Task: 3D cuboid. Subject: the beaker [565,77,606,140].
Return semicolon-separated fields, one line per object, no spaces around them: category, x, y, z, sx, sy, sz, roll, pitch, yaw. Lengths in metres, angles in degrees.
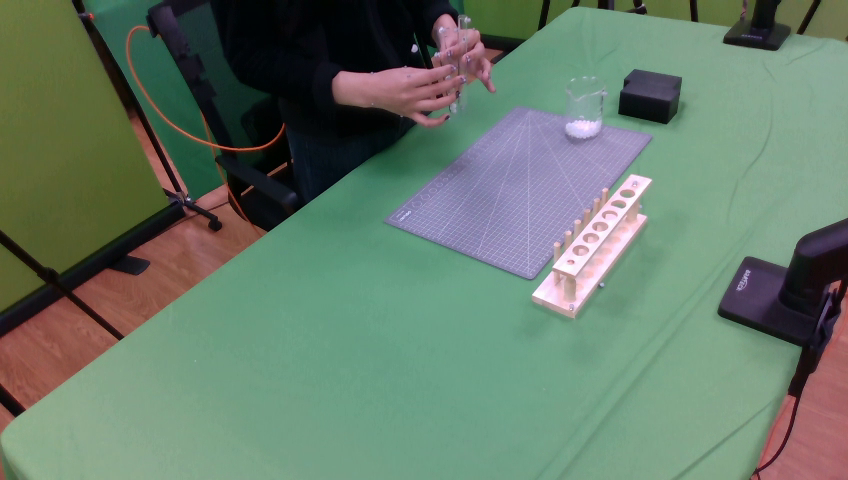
beaker;0.304;-0.247;1.153;0.073;0.101;0.084;15;46;27

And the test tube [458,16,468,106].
test tube;0.064;-0.292;0.997;0.017;0.151;0.017;-2;37;2

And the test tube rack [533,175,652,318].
test tube rack;0.250;-0.001;0.889;0.066;0.085;0.243;22;49;33

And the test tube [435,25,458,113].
test tube;0.038;-0.282;1.011;0.017;0.151;0.017;-9;33;6
